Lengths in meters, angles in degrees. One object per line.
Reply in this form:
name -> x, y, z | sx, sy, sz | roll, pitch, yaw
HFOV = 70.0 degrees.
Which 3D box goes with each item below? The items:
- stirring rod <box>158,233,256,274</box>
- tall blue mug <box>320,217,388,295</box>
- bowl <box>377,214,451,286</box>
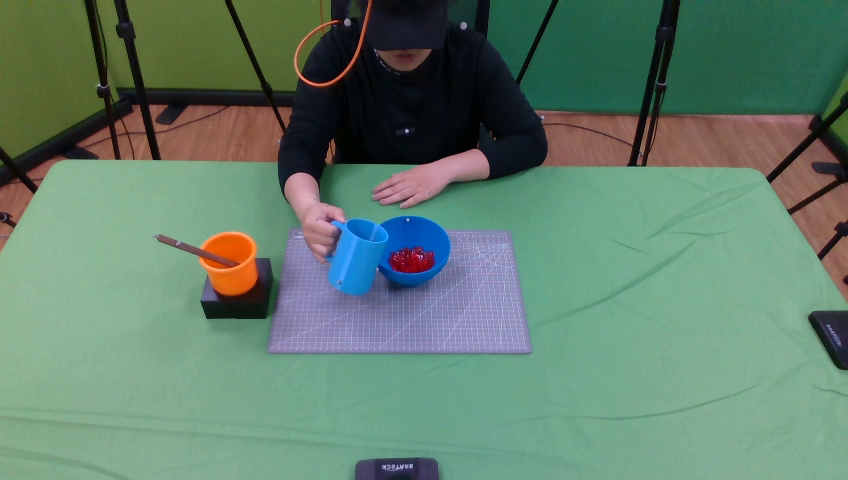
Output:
stirring rod -> -0.353, 0.024, 1.000 | 0.177, 0.006, 0.014 | 26, 32, -40
tall blue mug -> -0.127, 0.021, 1.018 | 0.107, 0.108, 0.077 | 20, 26, -5
bowl -> -0.028, 0.031, 1.122 | 0.151, 0.077, 0.150 | 2, 46, -2
